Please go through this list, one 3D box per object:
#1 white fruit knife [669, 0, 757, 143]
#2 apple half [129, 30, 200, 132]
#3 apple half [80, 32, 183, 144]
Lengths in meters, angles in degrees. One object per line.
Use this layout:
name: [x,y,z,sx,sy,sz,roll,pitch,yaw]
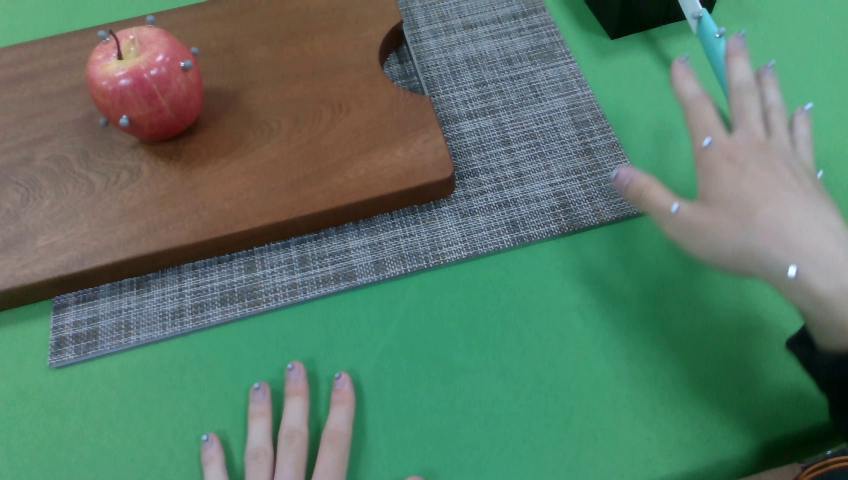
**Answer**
white fruit knife: [0.224,-0.176,0.503,0.016,0.027,0.206,-17,74,-7]
apple half: [-0.193,-0.126,0.471,0.033,0.082,0.080,-26,61,-6]
apple half: [-0.228,-0.110,0.465,0.053,0.075,0.080,-25,64,-6]
